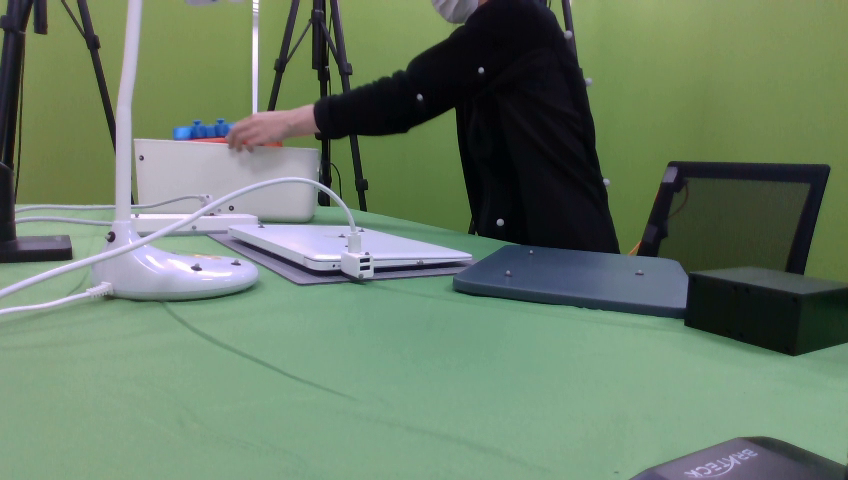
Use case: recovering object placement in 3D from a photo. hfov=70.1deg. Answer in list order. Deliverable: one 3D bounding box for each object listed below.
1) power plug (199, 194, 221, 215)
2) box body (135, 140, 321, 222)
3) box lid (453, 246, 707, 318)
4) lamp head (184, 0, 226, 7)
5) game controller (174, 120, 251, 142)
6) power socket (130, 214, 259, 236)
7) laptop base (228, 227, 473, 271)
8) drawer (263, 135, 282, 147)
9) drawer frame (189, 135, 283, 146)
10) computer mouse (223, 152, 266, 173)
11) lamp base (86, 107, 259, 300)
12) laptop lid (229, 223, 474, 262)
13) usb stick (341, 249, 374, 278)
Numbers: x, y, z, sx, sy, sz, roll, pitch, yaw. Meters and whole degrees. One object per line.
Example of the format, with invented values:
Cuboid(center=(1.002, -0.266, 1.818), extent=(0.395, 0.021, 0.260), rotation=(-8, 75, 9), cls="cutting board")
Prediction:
Cuboid(center=(-0.385, -0.055, 1.088), extent=(0.035, 0.052, 0.072), rotation=(-2, 7, -22), cls="power plug")
Cuboid(center=(-0.420, -0.133, 1.354), extent=(0.365, 0.160, 0.253), rotation=(2, 7, -8), cls="box body")
Cuboid(center=(0.204, 0.044, 0.780), extent=(0.262, 0.015, 0.372), rotation=(5, 7, 17), cls="box lid")
Cuboid(center=(-0.229, -0.320, 0.627), extent=(0.112, 0.112, 0.123), rotation=(6, -35, 26), cls="lamp head")
Cuboid(center=(-0.463, -0.231, 1.314), extent=(0.156, 0.051, 0.096), rotation=(-9, 7, -27), cls="game controller")
Cuboid(center=(-0.397, -0.028, 1.048), extent=(0.228, 0.032, 0.072), rotation=(-3, 7, -35), cls="power socket")
Cuboid(center=(-0.124, 0.011, 0.888), extent=(0.237, 0.023, 0.352), rotation=(2, 6, -35), cls="laptop base")
Cuboid(center=(-0.429, -0.184, 1.330), extent=(0.212, 0.073, 0.194), rotation=(-6, 12, -2), cls="drawer")
Cuboid(center=(-0.430, -0.184, 1.330), extent=(0.214, 0.083, 0.201), rotation=(-5, 11, -2), cls="drawer frame")
Cuboid(center=(-0.394, -0.171, 1.329), extent=(0.063, 0.041, 0.117), rotation=(-1, 15, 5), cls="computer mouse")
Cuboid(center=(-0.254, -0.039, 0.603), extent=(0.160, 0.180, 0.179), rotation=(5, 10, 18), cls="lamp base")
Cuboid(center=(-0.121, 0.000, 0.888), extent=(0.243, 0.013, 0.355), rotation=(1, 7, -33), cls="laptop lid")
Cuboid(center=(-0.079, 0.026, 0.686), extent=(0.021, 0.027, 0.059), rotation=(-7, 9, -31), cls="usb stick")
